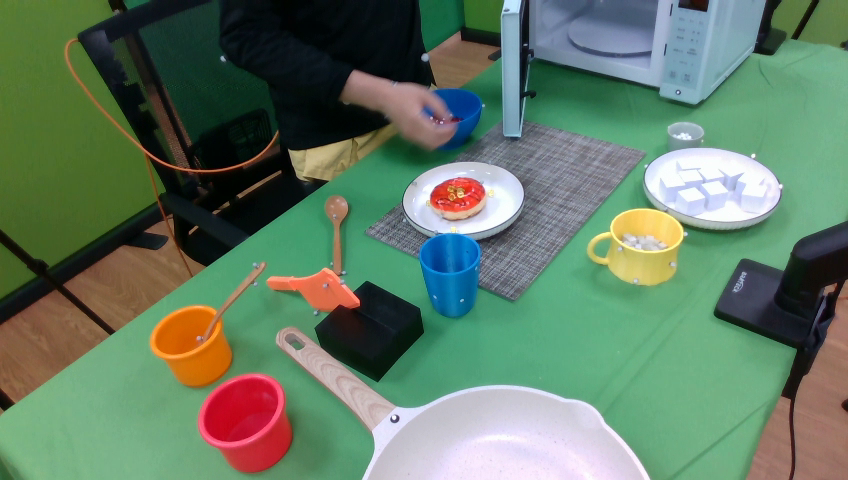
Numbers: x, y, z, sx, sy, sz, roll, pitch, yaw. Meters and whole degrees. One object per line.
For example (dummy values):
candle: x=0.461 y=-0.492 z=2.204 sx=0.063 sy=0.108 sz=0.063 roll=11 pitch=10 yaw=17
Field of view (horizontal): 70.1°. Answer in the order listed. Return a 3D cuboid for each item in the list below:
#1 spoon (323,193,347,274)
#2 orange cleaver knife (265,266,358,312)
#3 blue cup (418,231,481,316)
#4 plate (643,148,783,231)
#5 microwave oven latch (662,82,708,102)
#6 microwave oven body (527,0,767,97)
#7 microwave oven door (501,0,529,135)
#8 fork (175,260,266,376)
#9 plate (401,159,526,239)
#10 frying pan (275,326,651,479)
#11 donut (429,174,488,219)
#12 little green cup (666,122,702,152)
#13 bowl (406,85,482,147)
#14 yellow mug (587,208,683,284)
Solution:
spoon: x=-0.148 y=-0.014 z=1.008 sx=0.042 sy=0.021 sz=0.192 roll=5 pitch=39 yaw=-13
orange cleaver knife: x=-0.164 y=0.073 z=0.864 sx=0.210 sy=0.077 sz=0.012 roll=-6 pitch=31 yaw=50
blue cup: x=0.039 y=0.053 z=0.843 sx=0.092 sy=0.100 sz=0.092 roll=-4 pitch=43 yaw=4
plate: x=0.464 y=-0.080 z=0.985 sx=0.207 sy=0.039 sz=0.206 roll=-4 pitch=41 yaw=4
microwave oven latch: x=0.517 y=-0.298 z=1.202 sx=0.078 sy=0.029 sz=0.030 roll=28 pitch=52 yaw=35
microwave oven body: x=0.473 y=-0.516 z=1.313 sx=0.438 sy=0.261 sz=0.327 roll=26 pitch=51 yaw=34
microwave oven door: x=0.188 y=-0.410 z=1.224 sx=0.039 sy=0.245 sz=0.355 roll=1 pitch=41 yaw=11
fork: x=-0.268 y=0.103 z=0.792 sx=0.207 sy=0.019 sz=0.028 roll=-51 pitch=41 yaw=16
plate: x=0.067 y=-0.065 z=1.019 sx=0.209 sy=0.038 sz=0.208 roll=-4 pitch=40 yaw=4
frying pan: x=0.004 y=0.229 z=0.641 sx=0.484 sy=0.103 sz=0.308 roll=34 pitch=54 yaw=28
donut: x=0.058 y=-0.075 z=1.015 sx=0.099 sy=0.048 sz=0.098 roll=-6 pitch=38 yaw=5
little green cup: x=0.471 y=-0.184 z=1.102 sx=0.061 sy=0.039 sz=0.061 roll=-5 pitch=41 yaw=5
bowl: x=0.042 y=-0.237 z=1.197 sx=0.151 sy=0.077 sz=0.150 roll=-4 pitch=40 yaw=4
yellow mug: x=0.305 y=0.009 z=0.884 sx=0.131 sy=0.064 sz=0.099 roll=-4 pitch=41 yaw=5
